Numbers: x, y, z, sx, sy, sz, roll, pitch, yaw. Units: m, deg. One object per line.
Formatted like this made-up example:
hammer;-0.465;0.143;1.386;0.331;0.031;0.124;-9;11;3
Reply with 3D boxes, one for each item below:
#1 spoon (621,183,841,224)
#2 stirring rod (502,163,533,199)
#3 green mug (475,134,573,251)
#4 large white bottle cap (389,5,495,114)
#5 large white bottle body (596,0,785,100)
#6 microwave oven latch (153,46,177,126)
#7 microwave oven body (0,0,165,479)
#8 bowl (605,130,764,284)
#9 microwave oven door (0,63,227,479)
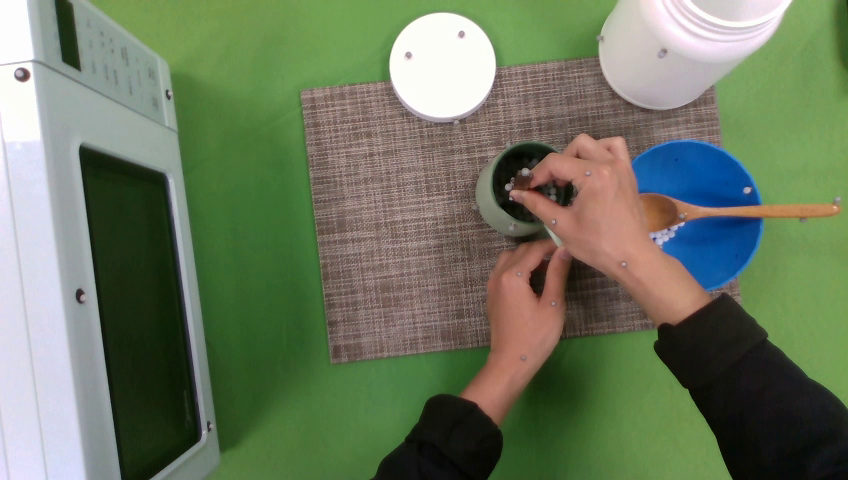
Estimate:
spoon;0.295;-0.037;0.592;0.193;0.022;0.041;1;93;24
stirring rod;0.085;-0.052;0.563;0.014;0.176;0.006;10;87;4
green mug;0.109;-0.044;0.608;0.092;0.105;0.125;-34;89;0
large white bottle cap;0.019;-0.193;0.652;0.115;0.018;0.114;0;89;0
large white bottle body;0.248;-0.220;0.568;0.130;0.185;0.130;0;85;1
microwave oven latch;-0.280;-0.158;0.629;0.030;0.029;0.079;-9;90;0
microwave oven body;-0.403;0.036;0.532;0.326;0.260;0.441;-8;90;0
bowl;0.252;-0.031;0.621;0.151;0.077;0.151;0;89;1
microwave oven door;-0.252;0.056;0.526;0.039;0.244;0.355;-9;89;1
